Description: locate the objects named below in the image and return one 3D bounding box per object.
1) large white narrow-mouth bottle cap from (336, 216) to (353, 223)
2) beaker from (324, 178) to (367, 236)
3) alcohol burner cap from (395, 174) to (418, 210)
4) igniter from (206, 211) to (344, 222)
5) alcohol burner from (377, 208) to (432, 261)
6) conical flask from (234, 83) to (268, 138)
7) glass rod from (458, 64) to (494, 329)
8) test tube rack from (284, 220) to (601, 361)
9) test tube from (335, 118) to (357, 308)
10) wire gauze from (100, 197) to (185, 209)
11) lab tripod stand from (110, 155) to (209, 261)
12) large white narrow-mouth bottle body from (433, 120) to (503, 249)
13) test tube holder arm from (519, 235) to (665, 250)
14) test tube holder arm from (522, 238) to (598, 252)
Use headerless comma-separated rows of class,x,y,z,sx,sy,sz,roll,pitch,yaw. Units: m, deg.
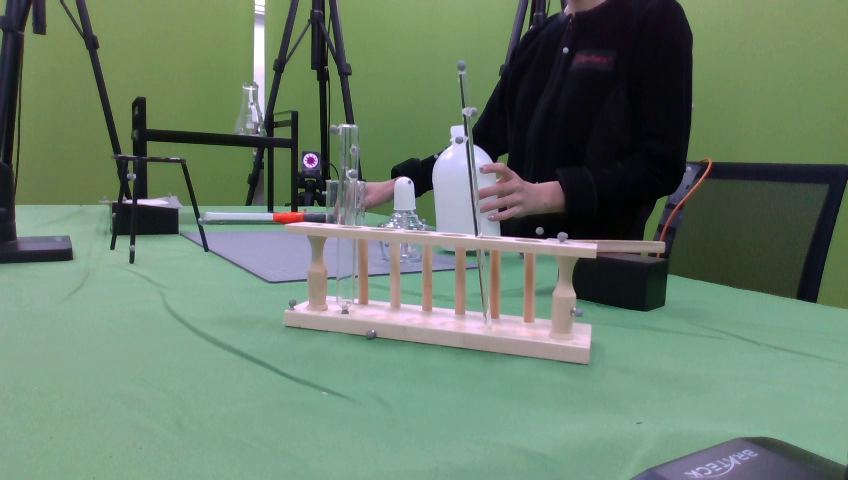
large white narrow-mouth bottle cap,-0.161,-0.036,1.231,0.038,0.024,0.037,2,8,0
beaker,-0.139,-0.060,1.083,0.074,0.100,0.083,-3,10,-31
alcohol burner cap,-0.026,-0.067,0.833,0.034,0.048,0.034,-1,12,1
igniter,-0.302,-0.048,1.248,0.278,0.025,0.057,-2,-2,-27
alcohol burner,-0.027,-0.031,0.838,0.078,0.119,0.078,0,6,0
conical flask,-0.400,-0.298,1.396,0.075,0.122,0.075,2,8,0
glass rod,0.039,-0.029,0.449,0.008,0.199,0.008,-7,9,1
test tube rack,0.013,0.032,0.482,0.242,0.085,0.067,4,7,16
test tube,-0.061,-0.019,0.476,0.017,0.150,0.017,2,10,0
wire gauze,-0.469,-0.062,1.008,0.126,0.011,0.121,-2,8,-25
lab tripod stand,-0.361,-0.046,0.806,0.148,0.131,0.148,2,5,0
large white narrow-mouth bottle body,0.066,-0.088,0.944,0.102,0.194,0.102,-5,8,1
test tube holder arm,0.185,0.002,0.656,0.179,0.015,0.013,-1,17,-19
test tube holder arm,0.144,0.005,0.636,0.088,0.015,0.010,-1,17,-19
